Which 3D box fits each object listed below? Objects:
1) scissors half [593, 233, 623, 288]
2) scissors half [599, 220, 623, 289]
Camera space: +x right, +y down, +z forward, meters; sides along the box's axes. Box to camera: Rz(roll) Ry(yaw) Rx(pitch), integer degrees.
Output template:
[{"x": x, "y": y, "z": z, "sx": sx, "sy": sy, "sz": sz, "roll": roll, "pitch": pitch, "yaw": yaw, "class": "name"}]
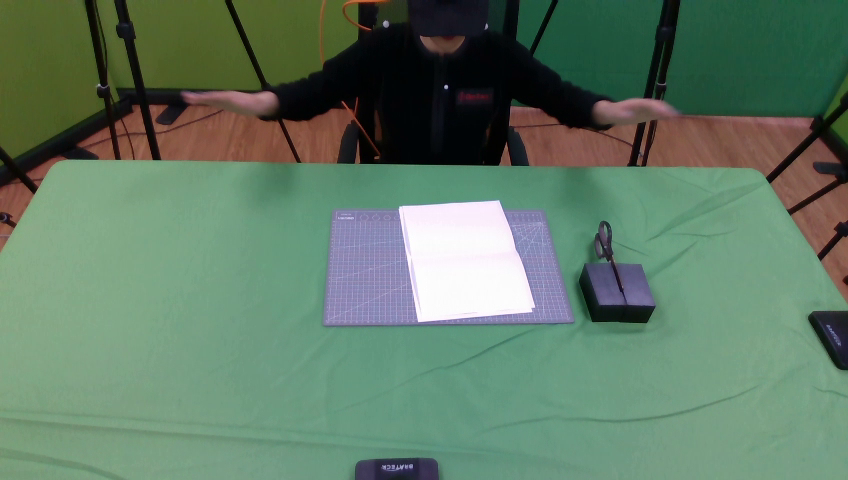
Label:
[{"x": 0.351, "y": 0.040, "z": 1.154, "sx": 0.013, "sy": 0.040, "sz": 0.174, "roll": 9, "pitch": 29, "yaw": -7, "class": "scissors half"}, {"x": 0.354, "y": 0.024, "z": 1.142, "sx": 0.013, "sy": 0.040, "sz": 0.174, "roll": 4, "pitch": 47, "yaw": -4, "class": "scissors half"}]
